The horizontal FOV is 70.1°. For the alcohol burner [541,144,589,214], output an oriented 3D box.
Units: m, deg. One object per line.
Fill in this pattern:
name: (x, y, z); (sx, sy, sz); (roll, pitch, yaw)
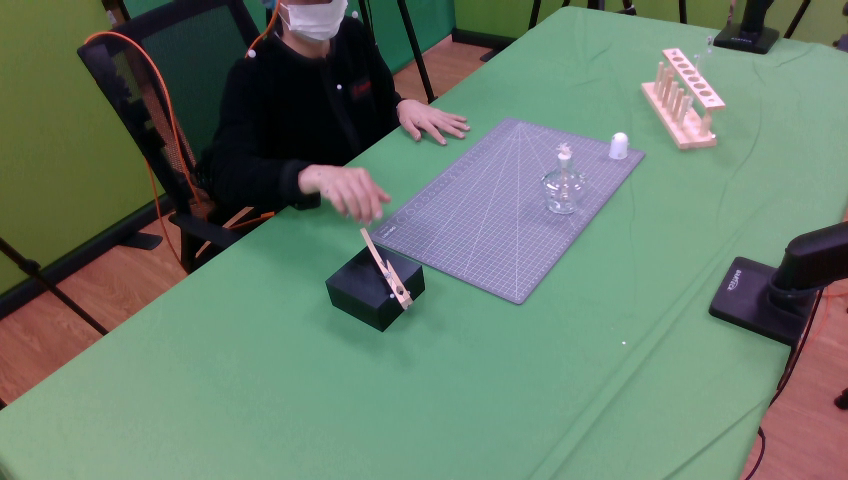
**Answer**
alcohol burner: (0.229, -0.102, 0.983); (0.078, 0.119, 0.077); (-6, 41, 5)

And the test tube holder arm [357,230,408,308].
test tube holder arm: (-0.062, 0.038, 0.868); (0.013, 0.015, 0.177); (-24, 42, -15)

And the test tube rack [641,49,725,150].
test tube rack: (0.495, -0.279, 1.175); (0.067, 0.085, 0.241); (-5, 41, 3)

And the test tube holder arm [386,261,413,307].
test tube holder arm: (-0.037, 0.060, 0.837); (0.010, 0.015, 0.087); (-23, 42, -13)

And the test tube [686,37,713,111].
test tube: (0.509, -0.306, 1.129); (0.017, 0.151, 0.017); (-1, 45, 2)

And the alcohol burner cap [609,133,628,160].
alcohol burner cap: (0.356, -0.172, 1.101); (0.034, 0.048, 0.033); (-5, 41, 5)
